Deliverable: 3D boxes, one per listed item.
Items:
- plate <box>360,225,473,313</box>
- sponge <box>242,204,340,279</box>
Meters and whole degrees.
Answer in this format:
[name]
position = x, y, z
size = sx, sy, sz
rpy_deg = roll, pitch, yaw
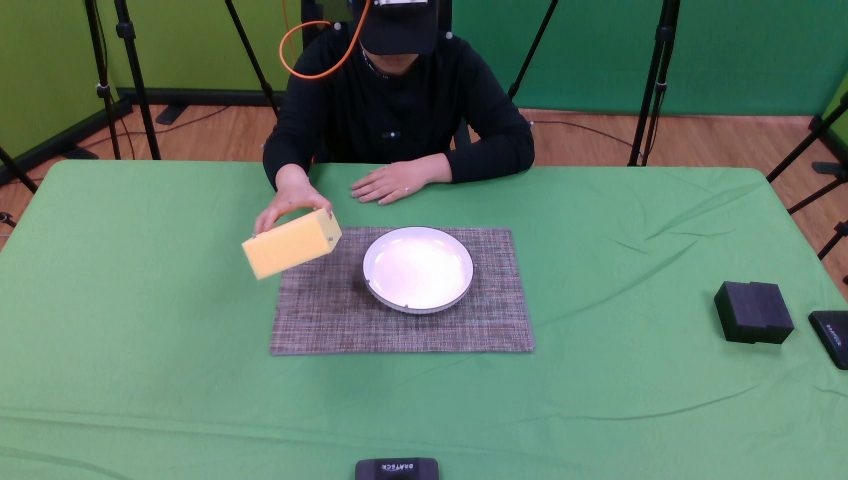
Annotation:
[plate]
position = -0.014, 0.057, 1.127
size = 0.208, 0.039, 0.206
rpy_deg = 2, 46, -2
[sponge]
position = -0.209, -0.003, 0.989
size = 0.118, 0.061, 0.206
rpy_deg = -22, 9, -1
